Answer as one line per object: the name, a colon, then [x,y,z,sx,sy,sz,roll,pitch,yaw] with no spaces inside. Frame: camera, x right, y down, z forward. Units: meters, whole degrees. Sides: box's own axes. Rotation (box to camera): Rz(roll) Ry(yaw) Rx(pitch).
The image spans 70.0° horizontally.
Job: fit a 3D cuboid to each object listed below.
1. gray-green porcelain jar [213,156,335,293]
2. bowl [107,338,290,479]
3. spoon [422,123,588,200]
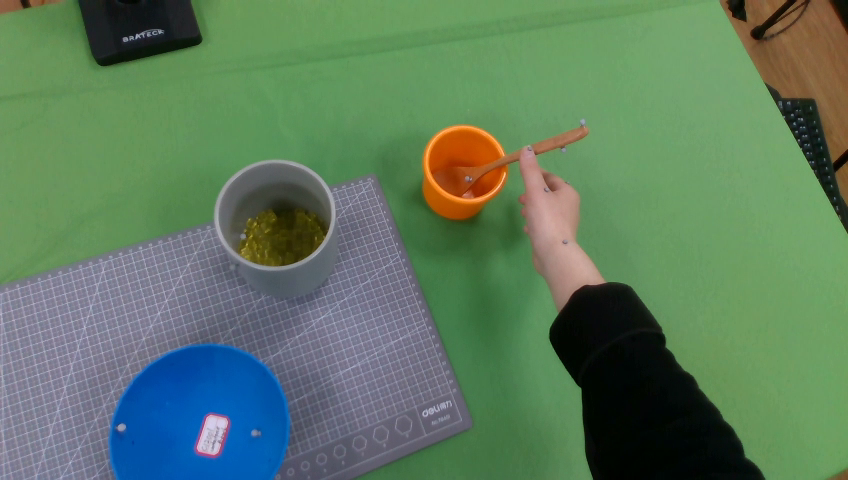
gray-green porcelain jar: [-0.140,-0.008,0.592,0.106,0.127,0.105,2,73,-7]
bowl: [-0.197,0.170,0.556,0.152,0.077,0.150,3,73,-8]
spoon: [0.080,-0.084,0.638,0.022,0.193,0.041,11,66,-52]
